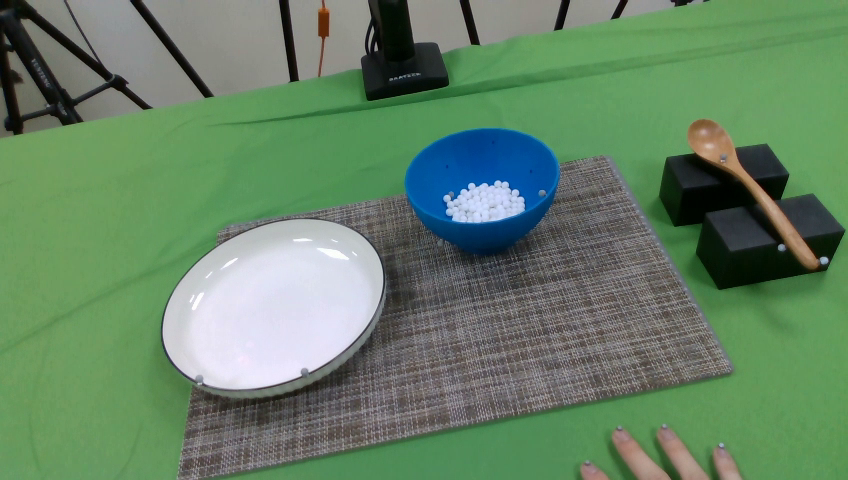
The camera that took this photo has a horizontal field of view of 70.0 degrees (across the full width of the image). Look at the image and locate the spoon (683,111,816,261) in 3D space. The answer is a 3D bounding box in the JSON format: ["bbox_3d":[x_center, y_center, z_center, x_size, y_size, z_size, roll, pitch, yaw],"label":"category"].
[{"bbox_3d":[0.291,-0.055,0.549,0.041,0.022,0.191,-13,46,-2],"label":"spoon"}]

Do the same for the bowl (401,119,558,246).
[{"bbox_3d":[0.057,-0.047,0.607,0.151,0.077,0.150,-5,45,5],"label":"bowl"}]

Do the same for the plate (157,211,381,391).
[{"bbox_3d":[-0.141,0.056,0.572,0.207,0.039,0.205,-5,45,5],"label":"plate"}]
